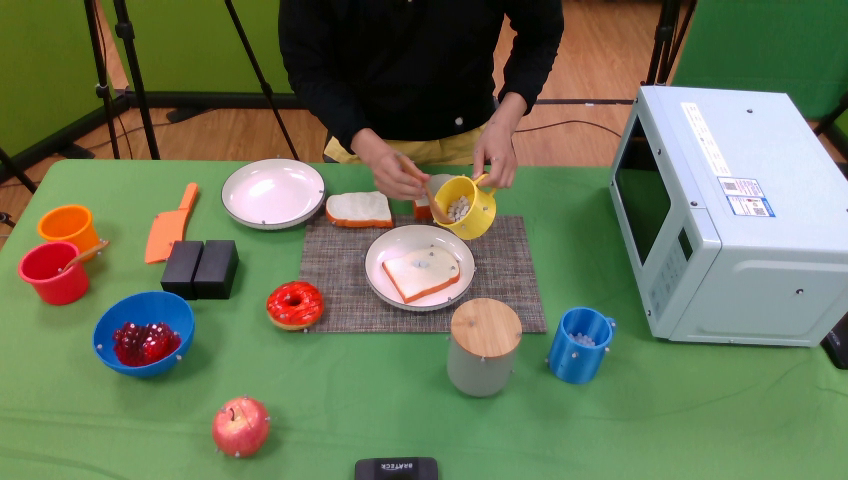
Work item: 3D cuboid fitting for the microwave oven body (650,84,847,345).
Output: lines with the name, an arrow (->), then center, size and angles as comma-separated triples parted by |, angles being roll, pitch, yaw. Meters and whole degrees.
microwave oven body -> 0.569, -0.054, 1.116 | 0.326, 0.261, 0.439 | 2, 46, -1

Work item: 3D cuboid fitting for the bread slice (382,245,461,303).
bread slice -> 0.000, 0.054, 1.129 | 0.131, 0.019, 0.104 | -20, 51, -21

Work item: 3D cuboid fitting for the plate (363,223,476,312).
plate -> -0.009, 0.054, 1.126 | 0.208, 0.039, 0.206 | 2, 46, -2

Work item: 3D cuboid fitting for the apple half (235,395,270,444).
apple half -> -0.245, 0.260, 0.893 | 0.033, 0.082, 0.081 | -29, 55, -22

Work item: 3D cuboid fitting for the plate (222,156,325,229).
plate -> -0.308, -0.094, 1.251 | 0.209, 0.038, 0.208 | 2, 46, -2

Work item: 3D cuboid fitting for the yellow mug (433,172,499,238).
yellow mug -> 0.083, -0.072, 1.092 | 0.131, 0.064, 0.099 | -47, 46, 12

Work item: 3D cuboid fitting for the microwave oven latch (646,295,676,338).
microwave oven latch -> 0.413, 0.133, 1.060 | 0.030, 0.029, 0.078 | 4, 46, 1

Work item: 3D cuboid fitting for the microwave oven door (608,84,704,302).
microwave oven door -> 0.424, -0.096, 1.138 | 0.039, 0.245, 0.353 | 2, 47, -1

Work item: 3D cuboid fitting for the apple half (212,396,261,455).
apple half -> -0.276, 0.276, 0.877 | 0.053, 0.075, 0.080 | -29, 58, -21

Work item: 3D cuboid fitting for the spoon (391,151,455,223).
spoon -> -0.001, -0.086, 1.025 | 0.021, 0.195, 0.041 | -49, 40, -14

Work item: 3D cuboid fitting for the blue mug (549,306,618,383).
blue mug -> 0.269, 0.167, 0.997 | 0.116, 0.106, 0.082 | -19, 51, -21

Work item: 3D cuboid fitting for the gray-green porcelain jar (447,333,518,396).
gray-green porcelain jar -> 0.091, 0.178, 0.960 | 0.106, 0.127, 0.105 | 2, 46, -2

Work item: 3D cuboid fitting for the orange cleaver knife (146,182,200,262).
orange cleaver knife -> -0.494, -0.039, 1.198 | 0.077, 0.012, 0.210 | -3, 48, 2

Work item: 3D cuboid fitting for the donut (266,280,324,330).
donut -> -0.223, 0.113, 1.051 | 0.099, 0.048, 0.098 | 2, 45, -2

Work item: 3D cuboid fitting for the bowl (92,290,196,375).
bowl -> -0.436, 0.161, 0.971 | 0.151, 0.077, 0.150 | 2, 46, -2

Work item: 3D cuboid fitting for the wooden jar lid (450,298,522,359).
wooden jar lid -> 0.093, 0.135, 0.914 | 0.108, 0.021, 0.107 | 3, 48, -3

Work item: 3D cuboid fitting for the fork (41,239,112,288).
fork -> -0.591, 0.040, 1.028 | 0.207, 0.019, 0.028 | -27, 36, 29

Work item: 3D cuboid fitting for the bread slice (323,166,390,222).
bread slice -> -0.140, -0.092, 1.224 | 0.134, 0.018, 0.106 | -19, 51, 5
